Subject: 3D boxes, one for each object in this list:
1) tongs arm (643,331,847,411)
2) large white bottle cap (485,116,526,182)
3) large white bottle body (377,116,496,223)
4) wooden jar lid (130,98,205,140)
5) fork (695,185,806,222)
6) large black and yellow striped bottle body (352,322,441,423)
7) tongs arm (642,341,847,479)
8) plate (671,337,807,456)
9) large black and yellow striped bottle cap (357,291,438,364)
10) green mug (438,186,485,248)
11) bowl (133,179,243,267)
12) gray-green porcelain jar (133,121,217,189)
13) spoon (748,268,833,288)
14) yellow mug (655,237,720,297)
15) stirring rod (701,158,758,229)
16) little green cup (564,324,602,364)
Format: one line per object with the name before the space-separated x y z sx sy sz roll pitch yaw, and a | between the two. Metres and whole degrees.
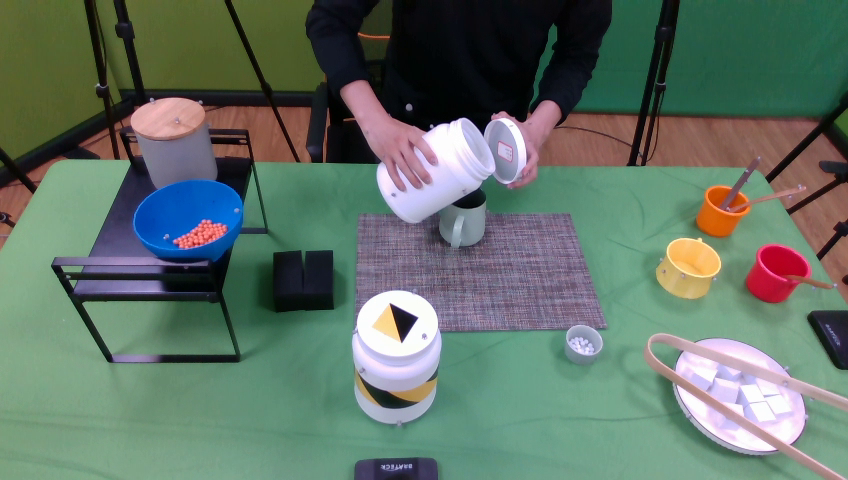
tongs arm | 0.546 0.227 0.968 0.384 0.026 0.050 22 52 13
large white bottle cap | 0.141 -0.159 1.062 0.018 0.115 0.114 -16 50 -21
large white bottle body | 0.024 -0.126 1.076 0.184 0.131 0.130 -30 40 26
wooden jar lid | -0.393 -0.183 0.934 0.108 0.021 0.107 3 43 -2
fork | 0.658 -0.074 1.230 0.207 0.019 0.028 -23 36 37
large black and yellow striped bottle body | -0.042 0.177 0.913 0.131 0.185 0.130 2 47 -2
tongs arm | 0.504 0.278 0.918 0.386 0.028 0.028 34 59 22
plate | 0.504 0.254 0.984 0.208 0.039 0.206 2 46 -2
large black and yellow striped bottle cap | -0.037 0.121 0.850 0.115 0.019 0.114 2 46 -2
green mug | 0.071 -0.039 1.178 0.092 0.105 0.124 12 47 7
bowl | -0.339 -0.013 0.895 0.151 0.077 0.150 2 46 -2
gray-green porcelain jar | -0.397 -0.141 0.980 0.106 0.127 0.105 2 47 -2
spoon | 0.660 0.068 1.097 0.041 0.193 0.021 -5 92 -6
yellow mug | 0.509 0.041 1.167 0.099 0.064 0.130 24 48 18
stirring rod | 0.634 -0.096 1.257 0.014 0.006 0.176 38 97 29
little green cup | 0.269 0.180 1.036 0.061 0.039 0.061 2 45 -2
